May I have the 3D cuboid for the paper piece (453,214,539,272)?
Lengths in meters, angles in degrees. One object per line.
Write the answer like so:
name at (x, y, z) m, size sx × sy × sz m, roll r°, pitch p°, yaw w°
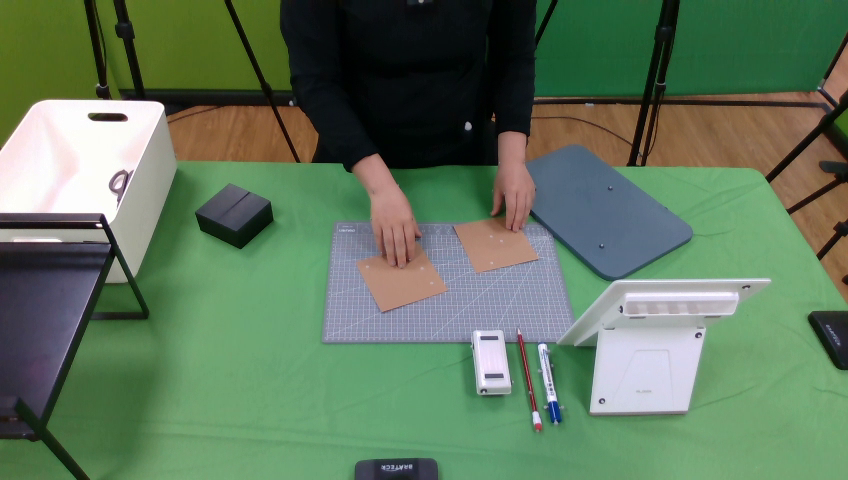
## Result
paper piece at (0.142, 0.003, 1.212) m, size 0.135 × 0.004 × 0.135 m, roll -11°, pitch 48°, yaw -15°

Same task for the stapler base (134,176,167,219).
stapler base at (-0.558, -0.093, 1.234) m, size 0.041 × 0.024 × 0.129 m, roll 2°, pitch 41°, yaw -9°

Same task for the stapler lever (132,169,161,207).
stapler lever at (-0.557, -0.113, 1.218) m, size 0.027 × 0.040 × 0.117 m, roll 2°, pitch 41°, yaw -9°

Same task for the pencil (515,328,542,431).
pencil at (0.169, 0.225, 1.002) m, size 0.012 × 0.012 × 0.192 m, roll -1°, pitch 46°, yaw -6°

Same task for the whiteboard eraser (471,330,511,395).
whiteboard eraser at (0.110, 0.203, 0.998) m, size 0.055 × 0.042 × 0.112 m, roll 1°, pitch 46°, yaw -5°

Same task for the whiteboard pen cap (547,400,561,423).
whiteboard pen cap at (0.205, 0.270, 0.955) m, size 0.018 × 0.018 × 0.033 m, roll 0°, pitch 46°, yaw -4°

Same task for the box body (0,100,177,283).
box body at (-0.639, -0.094, 1.140) m, size 0.254 × 0.161 × 0.361 m, roll 1°, pitch 46°, yaw -4°

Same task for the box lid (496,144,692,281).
box lid at (0.360, -0.073, 1.304) m, size 0.263 × 0.015 × 0.369 m, roll -24°, pitch 52°, yaw -25°

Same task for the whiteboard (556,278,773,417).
whiteboard at (0.347, 0.174, 0.903) m, size 0.217 × 0.306 × 0.143 m, roll 1°, pitch 65°, yaw -4°

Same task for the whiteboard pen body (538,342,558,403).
whiteboard pen body at (0.205, 0.229, 0.996) m, size 0.017 × 0.017 × 0.140 m, roll 1°, pitch 46°, yaw -3°

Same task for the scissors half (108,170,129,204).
scissors half at (-0.617, -0.077, 1.222) m, size 0.040 × 0.013 × 0.174 m, roll -15°, pitch 53°, yaw -8°

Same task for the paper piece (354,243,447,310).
paper piece at (-0.046, 0.067, 1.137) m, size 0.136 × 0.009 × 0.137 m, roll -13°, pitch 46°, yaw -23°

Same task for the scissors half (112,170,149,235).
scissors half at (-0.596, -0.078, 1.223) m, size 0.040 × 0.013 × 0.174 m, roll 6°, pitch 52°, yaw 1°
